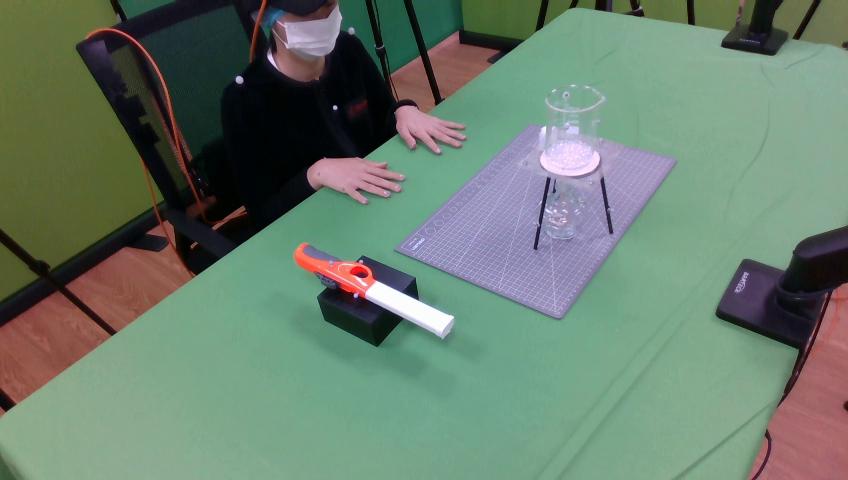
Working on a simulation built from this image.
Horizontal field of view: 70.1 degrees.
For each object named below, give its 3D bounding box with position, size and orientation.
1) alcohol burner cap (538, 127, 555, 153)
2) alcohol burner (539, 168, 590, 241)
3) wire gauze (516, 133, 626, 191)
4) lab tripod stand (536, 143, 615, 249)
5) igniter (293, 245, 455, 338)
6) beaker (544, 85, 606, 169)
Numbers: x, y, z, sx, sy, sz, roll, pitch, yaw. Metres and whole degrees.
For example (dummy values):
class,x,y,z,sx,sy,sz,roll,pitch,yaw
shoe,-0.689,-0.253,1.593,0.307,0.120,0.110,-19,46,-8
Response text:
class,x,y,z,sx,sy,sz,roll,pitch,yaw
alcohol burner cap,0.234,-0.191,1.147,0.034,0.048,0.033,-5,40,5
alcohol burner,0.217,-0.059,0.935,0.078,0.119,0.077,-6,40,6
wire gauze,0.217,-0.122,0.893,0.124,0.011,0.122,20,47,32
lab tripod stand,0.224,-0.069,0.931,0.148,0.132,0.147,-4,42,4
igniter,-0.079,0.065,0.833,0.274,0.025,0.057,23,48,27
beaker,0.212,-0.158,0.861,0.084,0.101,0.073,-3,41,6
